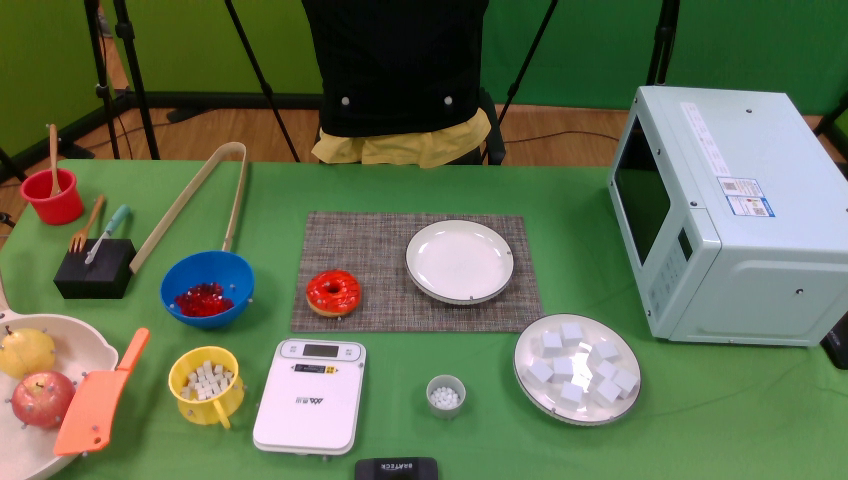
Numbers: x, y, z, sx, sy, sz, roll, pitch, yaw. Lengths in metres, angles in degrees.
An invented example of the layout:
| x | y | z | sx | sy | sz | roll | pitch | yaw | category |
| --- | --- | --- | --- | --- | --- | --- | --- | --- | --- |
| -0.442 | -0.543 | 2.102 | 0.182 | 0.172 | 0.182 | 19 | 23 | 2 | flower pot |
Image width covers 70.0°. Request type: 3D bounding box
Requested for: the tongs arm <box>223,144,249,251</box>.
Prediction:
| x | y | z | sx | sy | sz | roll | pitch | yaw | category |
| --- | --- | --- | --- | --- | --- | --- | --- | --- | --- |
| -0.397 | -0.073 | 1.232 | 0.051 | 0.026 | 0.382 | -1 | 45 | -1 | tongs arm |

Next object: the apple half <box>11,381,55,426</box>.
| x | y | z | sx | sy | sz | roll | pitch | yaw | category |
| --- | --- | --- | --- | --- | --- | --- | --- | --- | --- |
| -0.570 | 0.246 | 0.875 | 0.081 | 0.081 | 0.033 | 32 | 49 | 24 | apple half |

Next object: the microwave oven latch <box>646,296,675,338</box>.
| x | y | z | sx | sy | sz | roll | pitch | yaw | category |
| --- | --- | --- | --- | --- | --- | --- | --- | --- | --- |
| 0.412 | 0.134 | 1.061 | 0.030 | 0.029 | 0.078 | 4 | 45 | 1 | microwave oven latch |

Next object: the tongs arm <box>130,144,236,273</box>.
| x | y | z | sx | sy | sz | roll | pitch | yaw | category |
| --- | --- | --- | --- | --- | --- | --- | --- | --- | --- |
| -0.483 | -0.078 | 1.234 | 0.028 | 0.028 | 0.385 | 7 | 45 | 12 | tongs arm |

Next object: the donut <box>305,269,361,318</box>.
| x | y | z | sx | sy | sz | roll | pitch | yaw | category |
| --- | --- | --- | --- | --- | --- | --- | --- | --- | --- |
| -0.160 | 0.094 | 1.075 | 0.099 | 0.048 | 0.098 | 3 | 45 | -3 | donut |

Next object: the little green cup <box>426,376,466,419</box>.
| x | y | z | sx | sy | sz | roll | pitch | yaw | category |
| --- | --- | --- | --- | --- | --- | --- | --- | --- | --- |
| 0.033 | 0.248 | 0.950 | 0.061 | 0.039 | 0.061 | 2 | 46 | -2 | little green cup |

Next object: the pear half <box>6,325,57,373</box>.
| x | y | z | sx | sy | sz | roll | pitch | yaw | category |
| --- | --- | --- | --- | --- | --- | --- | --- | --- | --- |
| -0.607 | 0.158 | 0.935 | 0.076 | 0.110 | 0.056 | 31 | 51 | 19 | pear half |

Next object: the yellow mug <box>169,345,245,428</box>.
| x | y | z | sx | sy | sz | roll | pitch | yaw | category |
| --- | --- | --- | --- | --- | --- | --- | --- | --- | --- |
| -0.322 | 0.230 | 0.922 | 0.100 | 0.064 | 0.130 | -24 | 53 | -25 | yellow mug |

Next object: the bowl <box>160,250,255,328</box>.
| x | y | z | sx | sy | sz | roll | pitch | yaw | category |
| --- | --- | --- | --- | --- | --- | --- | --- | --- | --- |
| -0.362 | 0.098 | 1.040 | 0.151 | 0.077 | 0.150 | 2 | 45 | -2 | bowl |

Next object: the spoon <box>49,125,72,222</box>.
| x | y | z | sx | sy | sz | roll | pitch | yaw | category |
| --- | --- | --- | --- | --- | --- | --- | --- | --- | --- |
| -0.719 | -0.131 | 1.189 | 0.041 | 0.021 | 0.193 | -3 | 91 | -6 | spoon |

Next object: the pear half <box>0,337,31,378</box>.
| x | y | z | sx | sy | sz | roll | pitch | yaw | category |
| --- | --- | --- | --- | --- | --- | --- | --- | --- | --- |
| -0.631 | 0.183 | 0.923 | 0.070 | 0.088 | 0.031 | 28 | 50 | 15 | pear half |

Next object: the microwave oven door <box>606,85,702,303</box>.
| x | y | z | sx | sy | sz | roll | pitch | yaw | category |
| --- | --- | --- | --- | --- | --- | --- | --- | --- | --- |
| 0.422 | -0.094 | 1.140 | 0.039 | 0.245 | 0.353 | 2 | 46 | -1 | microwave oven door |

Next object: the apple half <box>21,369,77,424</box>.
| x | y | z | sx | sy | sz | roll | pitch | yaw | category |
| --- | --- | --- | --- | --- | --- | --- | --- | --- | --- |
| -0.546 | 0.226 | 0.898 | 0.080 | 0.075 | 0.053 | 30 | 48 | 27 | apple half |

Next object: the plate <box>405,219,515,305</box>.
| x | y | z | sx | sy | sz | roll | pitch | yaw | category |
| --- | --- | --- | --- | --- | --- | --- | --- | --- | --- |
| 0.067 | 0.044 | 1.144 | 0.209 | 0.038 | 0.208 | 2 | 46 | -2 | plate |

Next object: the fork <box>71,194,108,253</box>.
| x | y | z | sx | sy | sz | roll | pitch | yaw | category |
| --- | --- | --- | --- | --- | --- | --- | --- | --- | --- |
| -0.634 | -0.036 | 1.158 | 0.028 | 0.019 | 0.206 | -7 | 31 | -8 | fork |

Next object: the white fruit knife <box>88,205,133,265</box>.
| x | y | z | sx | sy | sz | roll | pitch | yaw | category |
| --- | --- | --- | --- | --- | --- | --- | --- | --- | --- |
| -0.584 | -0.013 | 1.129 | 0.016 | 0.027 | 0.206 | -2 | 31 | -4 | white fruit knife |

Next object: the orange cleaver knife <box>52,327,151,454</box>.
| x | y | z | sx | sy | sz | roll | pitch | yaw | category |
| --- | --- | --- | --- | --- | --- | --- | --- | --- | --- |
| -0.462 | 0.212 | 0.879 | 0.077 | 0.012 | 0.210 | 6 | 45 | -1 | orange cleaver knife |

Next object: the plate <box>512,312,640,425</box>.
| x | y | z | sx | sy | sz | roll | pitch | yaw | category |
| --- | --- | --- | --- | --- | --- | --- | --- | --- | --- |
| 0.246 | 0.213 | 0.999 | 0.208 | 0.039 | 0.206 | 2 | 46 | -2 | plate |

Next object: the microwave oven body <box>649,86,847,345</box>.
| x | y | z | sx | sy | sz | roll | pitch | yaw | category |
| --- | --- | --- | --- | --- | --- | --- | --- | --- | --- |
| 0.567 | -0.053 | 1.118 | 0.326 | 0.261 | 0.439 | 2 | 45 | -1 | microwave oven body |

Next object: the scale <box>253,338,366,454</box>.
| x | y | z | sx | sy | sz | roll | pitch | yaw | category |
| --- | --- | --- | --- | --- | --- | --- | --- | --- | --- |
| -0.175 | 0.236 | 0.951 | 0.149 | 0.032 | 0.199 | 4 | 45 | 0 | scale |

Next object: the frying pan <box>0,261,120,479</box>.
| x | y | z | sx | sy | sz | roll | pitch | yaw | category |
| --- | --- | --- | --- | --- | --- | --- | --- | --- | --- |
| -0.647 | 0.164 | 0.936 | 0.307 | 0.103 | 0.485 | -19 | 58 | -22 | frying pan |
